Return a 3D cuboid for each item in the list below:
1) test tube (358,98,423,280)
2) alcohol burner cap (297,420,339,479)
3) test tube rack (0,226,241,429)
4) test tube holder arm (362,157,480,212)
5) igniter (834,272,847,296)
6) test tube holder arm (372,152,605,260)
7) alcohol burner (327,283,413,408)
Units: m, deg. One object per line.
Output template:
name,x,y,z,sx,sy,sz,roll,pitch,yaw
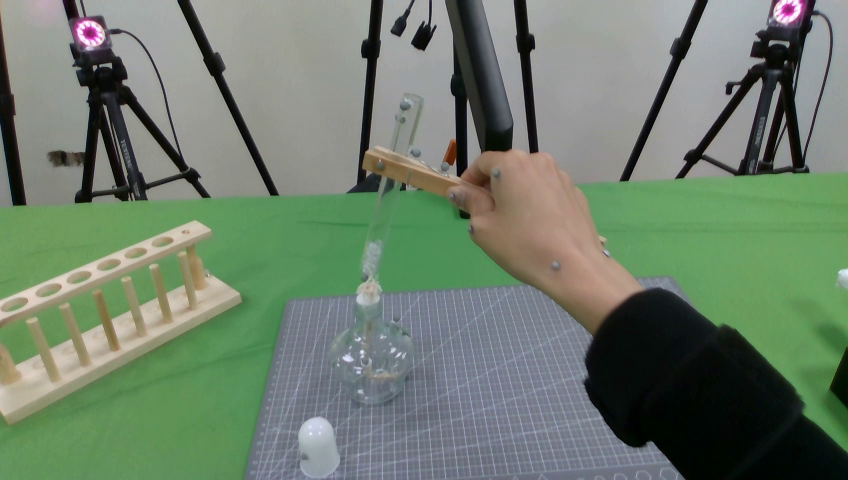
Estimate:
test tube,-0.027,-0.032,0.449,0.017,0.151,0.017,14,29,-7
alcohol burner cap,-0.087,0.166,0.486,0.034,0.048,0.033,-1,30,1
test tube rack,-0.315,0.076,0.614,0.066,0.086,0.242,24,39,36
test tube holder arm,-0.002,-0.040,0.431,0.087,0.015,0.010,19,31,8
igniter,0.446,0.101,0.500,0.057,0.025,0.274,-4,27,-3
test tube holder arm,0.041,-0.026,0.426,0.177,0.015,0.013,23,32,15
alcohol burner,-0.049,0.090,0.543,0.078,0.120,0.077,-1,29,1
